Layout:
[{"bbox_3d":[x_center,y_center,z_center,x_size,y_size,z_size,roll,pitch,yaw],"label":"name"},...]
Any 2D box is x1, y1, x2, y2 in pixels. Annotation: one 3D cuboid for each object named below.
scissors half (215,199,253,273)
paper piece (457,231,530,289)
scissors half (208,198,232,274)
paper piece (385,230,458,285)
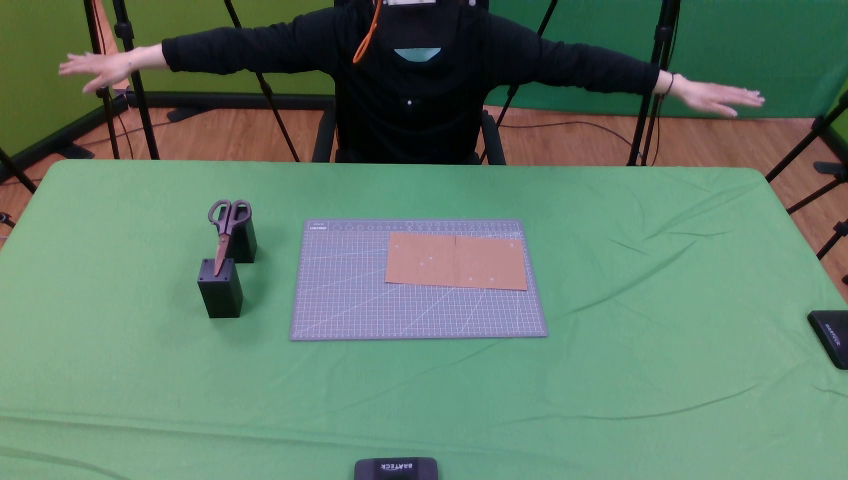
[{"bbox_3d":[-0.332,-0.009,1.049,0.040,0.013,0.174,7,48,1],"label":"scissors half"},{"bbox_3d":[0.132,0.038,1.171,0.138,0.009,0.135,4,50,-1],"label":"paper piece"},{"bbox_3d":[-0.352,-0.009,1.046,0.040,0.013,0.174,-3,49,-15],"label":"scissors half"},{"bbox_3d":[-0.002,0.031,1.169,0.136,0.004,0.134,3,48,1],"label":"paper piece"}]
